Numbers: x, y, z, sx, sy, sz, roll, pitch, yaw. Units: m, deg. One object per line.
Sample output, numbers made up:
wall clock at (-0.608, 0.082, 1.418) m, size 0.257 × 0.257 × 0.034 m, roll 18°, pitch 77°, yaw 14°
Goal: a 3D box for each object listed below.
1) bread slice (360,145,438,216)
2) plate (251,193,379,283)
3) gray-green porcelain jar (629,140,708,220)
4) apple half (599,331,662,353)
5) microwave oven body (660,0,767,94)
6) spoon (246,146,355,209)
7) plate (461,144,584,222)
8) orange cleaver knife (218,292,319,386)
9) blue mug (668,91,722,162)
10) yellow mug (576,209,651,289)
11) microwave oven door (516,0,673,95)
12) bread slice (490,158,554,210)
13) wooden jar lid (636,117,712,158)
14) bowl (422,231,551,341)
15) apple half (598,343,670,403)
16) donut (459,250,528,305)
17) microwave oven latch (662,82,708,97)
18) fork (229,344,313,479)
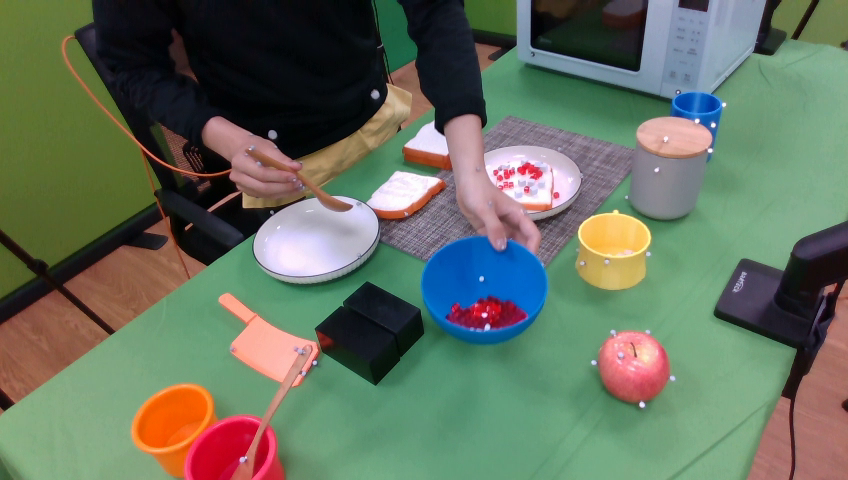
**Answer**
bread slice at (-0.053, -0.103, 1.046) m, size 0.106 × 0.018 × 0.134 m, roll 18°, pitch 66°, yaw 23°
plate at (-0.174, -0.001, 0.985) m, size 0.209 × 0.038 × 0.208 m, roll -4°, pitch 41°, yaw 4°
gray-green porcelain jar at (0.383, -0.104, 0.958) m, size 0.106 × 0.127 × 0.105 m, roll -4°, pitch 41°, yaw 4°
apple half at (0.249, 0.134, 0.738) m, size 0.081 × 0.081 × 0.032 m, roll -1°, pitch 46°, yaw 7°
microwave oven body at (0.474, -0.517, 1.313) m, size 0.438 × 0.261 × 0.327 m, roll 26°, pitch 51°, yaw 34°
spoon at (-0.169, -0.084, 0.841) m, size 0.041 × 0.195 × 0.021 m, roll -6°, pitch 62°, yaw 38°
plate at (0.168, -0.095, 1.040) m, size 0.207 × 0.039 × 0.206 m, roll -4°, pitch 40°, yaw 4°
orange cleaver knife at (-0.235, 0.136, 0.850) m, size 0.209 × 0.012 × 0.077 m, roll 25°, pitch 56°, yaw 30°
blue mug at (0.474, -0.207, 1.079) m, size 0.082 × 0.106 × 0.116 m, roll 4°, pitch 42°, yaw 13°
yellow mug at (0.279, 0.004, 0.893) m, size 0.099 × 0.064 × 0.130 m, roll 6°, pitch 41°, yaw 15°
microwave oven door at (0.344, -0.458, 1.256) m, size 0.353 × 0.245 × 0.039 m, roll 26°, pitch 51°, yaw 33°
bread slice at (0.173, -0.100, 1.047) m, size 0.104 × 0.019 × 0.131 m, roll 4°, pitch 43°, yaw 12°
wooden jar lid at (0.377, -0.151, 0.917) m, size 0.108 × 0.021 × 0.108 m, roll -2°, pitch 41°, yaw 2°
bowl at (0.074, 0.069, 0.729) m, size 0.151 × 0.077 × 0.150 m, roll -2°, pitch 45°, yaw 2°
apple half at (0.247, 0.161, 0.710) m, size 0.081 × 0.075 × 0.053 m, roll 1°, pitch 46°, yaw 5°
donut at (0.100, 0.053, 0.872) m, size 0.099 × 0.048 × 0.098 m, roll -5°, pitch 39°, yaw 4°
microwave oven latch at (0.518, -0.298, 1.203) m, size 0.078 × 0.029 × 0.030 m, roll 28°, pitch 53°, yaw 35°
fork at (-0.173, 0.205, 0.661) m, size 0.028 × 0.019 × 0.207 m, roll 29°, pitch 94°, yaw 36°
